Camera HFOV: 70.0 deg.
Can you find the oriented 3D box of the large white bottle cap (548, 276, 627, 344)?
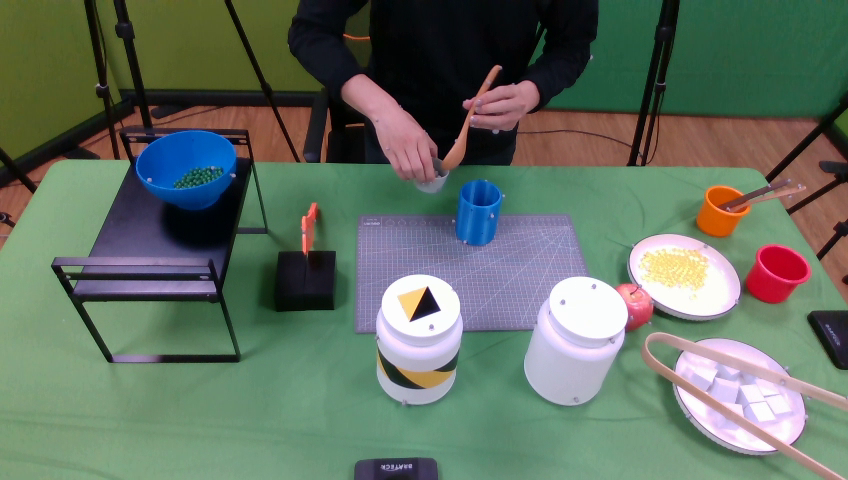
[{"bbox_3d":[0.240,0.100,0.890,0.115,0.018,0.114,3,47,-3],"label":"large white bottle cap"}]

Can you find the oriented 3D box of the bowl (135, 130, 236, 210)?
[{"bbox_3d":[-0.375,-0.102,0.977,0.151,0.077,0.150,2,46,-2],"label":"bowl"}]

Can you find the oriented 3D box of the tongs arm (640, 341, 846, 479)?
[{"bbox_3d":[0.500,0.278,0.920,0.386,0.028,0.028,34,60,22],"label":"tongs arm"}]

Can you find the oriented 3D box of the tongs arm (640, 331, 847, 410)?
[{"bbox_3d":[0.543,0.226,0.969,0.384,0.026,0.050,22,53,13],"label":"tongs arm"}]

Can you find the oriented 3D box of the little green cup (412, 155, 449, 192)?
[{"bbox_3d":[0.008,-0.115,1.061,0.062,0.039,0.061,13,43,-12],"label":"little green cup"}]

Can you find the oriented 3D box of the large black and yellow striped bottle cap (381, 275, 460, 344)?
[{"bbox_3d":[-0.005,0.099,0.875,0.115,0.019,0.114,2,45,-2],"label":"large black and yellow striped bottle cap"}]

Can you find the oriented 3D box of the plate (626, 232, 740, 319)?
[{"bbox_3d":[0.489,0.070,1.157,0.209,0.038,0.208,3,46,-3],"label":"plate"}]

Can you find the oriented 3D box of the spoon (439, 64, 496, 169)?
[{"bbox_3d":[0.072,-0.201,1.002,0.042,0.194,0.021,2,30,-42],"label":"spoon"}]

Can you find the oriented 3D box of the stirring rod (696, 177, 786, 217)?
[{"bbox_3d":[0.648,-0.087,1.244,0.176,0.006,0.014,-25,50,29],"label":"stirring rod"}]

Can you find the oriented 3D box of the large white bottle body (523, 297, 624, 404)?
[{"bbox_3d":[0.235,0.159,0.952,0.131,0.185,0.130,2,47,-2],"label":"large white bottle body"}]

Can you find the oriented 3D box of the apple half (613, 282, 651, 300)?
[{"bbox_3d":[0.356,0.109,1.086,0.081,0.075,0.053,-13,44,-12],"label":"apple half"}]

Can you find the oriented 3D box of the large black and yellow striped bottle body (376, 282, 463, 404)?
[{"bbox_3d":[-0.010,0.155,0.937,0.131,0.185,0.130,2,47,-2],"label":"large black and yellow striped bottle body"}]

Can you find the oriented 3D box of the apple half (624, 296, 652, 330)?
[{"bbox_3d":[0.368,0.135,1.060,0.081,0.081,0.032,-11,43,-15],"label":"apple half"}]

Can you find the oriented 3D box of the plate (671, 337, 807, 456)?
[{"bbox_3d":[0.504,0.254,0.984,0.208,0.039,0.206,2,46,-2],"label":"plate"}]

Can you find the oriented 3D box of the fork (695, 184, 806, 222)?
[{"bbox_3d":[0.658,-0.074,1.230,0.207,0.019,0.028,-24,33,36],"label":"fork"}]

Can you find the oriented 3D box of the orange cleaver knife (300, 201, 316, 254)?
[{"bbox_3d":[-0.221,-0.027,1.161,0.012,0.077,0.210,-1,15,-4],"label":"orange cleaver knife"}]

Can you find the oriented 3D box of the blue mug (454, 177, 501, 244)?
[{"bbox_3d":[0.106,-0.067,1.208,0.082,0.106,0.116,6,46,1],"label":"blue mug"}]
